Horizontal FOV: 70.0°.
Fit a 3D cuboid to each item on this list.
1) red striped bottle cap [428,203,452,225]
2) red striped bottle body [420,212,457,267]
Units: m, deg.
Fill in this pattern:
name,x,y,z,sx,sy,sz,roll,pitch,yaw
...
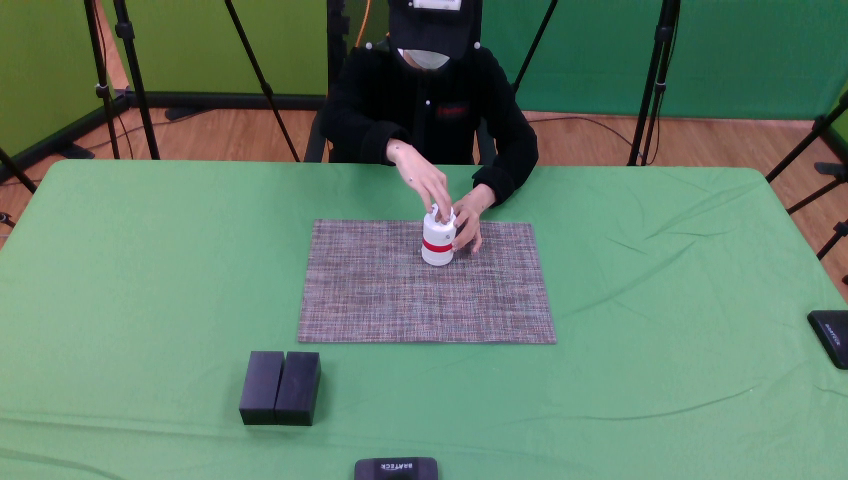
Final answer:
name,x,y,z,sx,sy,sz,roll,pitch,yaw
red striped bottle cap,0.030,-0.048,1.101,0.044,0.018,0.044,2,42,-1
red striped bottle body,0.027,-0.011,1.139,0.063,0.120,0.062,3,45,-2
